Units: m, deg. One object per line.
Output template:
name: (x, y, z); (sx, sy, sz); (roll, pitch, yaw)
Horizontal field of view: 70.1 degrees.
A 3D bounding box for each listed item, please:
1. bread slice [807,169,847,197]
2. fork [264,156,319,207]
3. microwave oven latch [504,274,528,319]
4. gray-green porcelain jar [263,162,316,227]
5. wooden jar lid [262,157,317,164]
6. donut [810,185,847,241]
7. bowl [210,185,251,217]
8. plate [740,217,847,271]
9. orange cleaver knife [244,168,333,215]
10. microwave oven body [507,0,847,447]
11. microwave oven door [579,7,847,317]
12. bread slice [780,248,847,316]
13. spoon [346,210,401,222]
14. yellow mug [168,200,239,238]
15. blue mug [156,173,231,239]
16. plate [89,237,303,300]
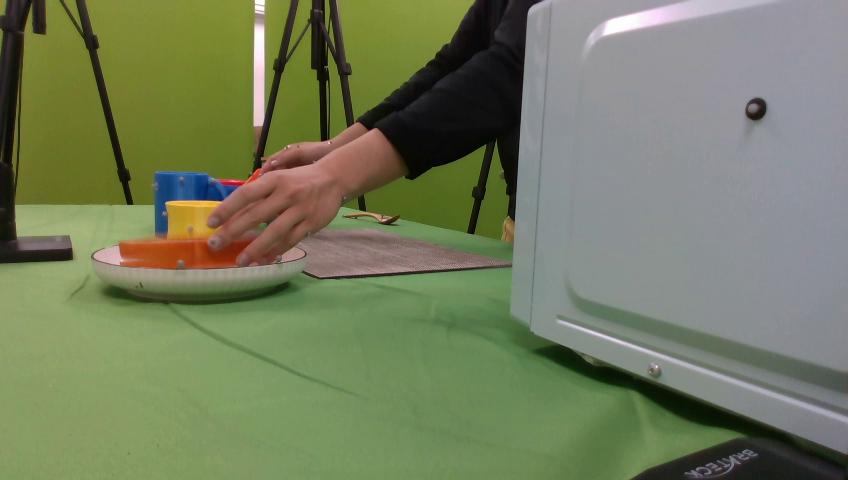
bread slice: (0.365, -0.051, 0.453); (0.135, 0.018, 0.106); (-10, 1, -23)
fork: (-0.331, -0.144, 1.506); (0.207, 0.018, 0.028); (-42, -18, 22)
microwave oven latch: (0.100, 0.042, 0.469); (0.079, 0.029, 0.030); (-1, 7, -25)
gray-green porcelain jar: (-0.271, -0.092, 1.218); (0.106, 0.126, 0.106); (2, 7, 0)
wooden jar lid: (-0.269, -0.154, 1.208); (0.108, 0.020, 0.108); (3, 4, 0)
donut: (0.352, -0.025, 0.463); (0.099, 0.048, 0.099); (-10, 4, 1)
bowl: (-0.408, -0.064, 1.154); (0.151, 0.077, 0.151); (2, 8, 0)
plate: (0.358, 0.002, 0.464); (0.209, 0.038, 0.209); (0, 4, 0)
orange cleaver knife: (-0.300, -0.089, 1.351); (0.212, 0.077, 0.012); (28, -9, -34)
microwave oven body: (0.331, -0.042, 0.425); (0.444, 0.260, 0.324); (-2, 8, -31)
microwave oven door: (0.294, -0.067, 0.570); (0.358, 0.243, 0.039); (-3, 9, -31)
bread slice: (0.370, 0.023, 0.476); (0.132, 0.019, 0.104); (-23, 11, -9)
spoon: (-0.120, -0.060, 1.400); (0.042, 0.021, 0.192); (-26, 24, -38)
yellow mug: (-0.319, -0.023, 0.904); (0.130, 0.064, 0.100); (9, 11, 36)
blue mug: (-0.381, -0.057, 1.004); (0.117, 0.106, 0.082); (1, 8, -12)
plate: (-0.233, 0.029, 0.637); (0.208, 0.039, 0.207); (2, 8, 0)
